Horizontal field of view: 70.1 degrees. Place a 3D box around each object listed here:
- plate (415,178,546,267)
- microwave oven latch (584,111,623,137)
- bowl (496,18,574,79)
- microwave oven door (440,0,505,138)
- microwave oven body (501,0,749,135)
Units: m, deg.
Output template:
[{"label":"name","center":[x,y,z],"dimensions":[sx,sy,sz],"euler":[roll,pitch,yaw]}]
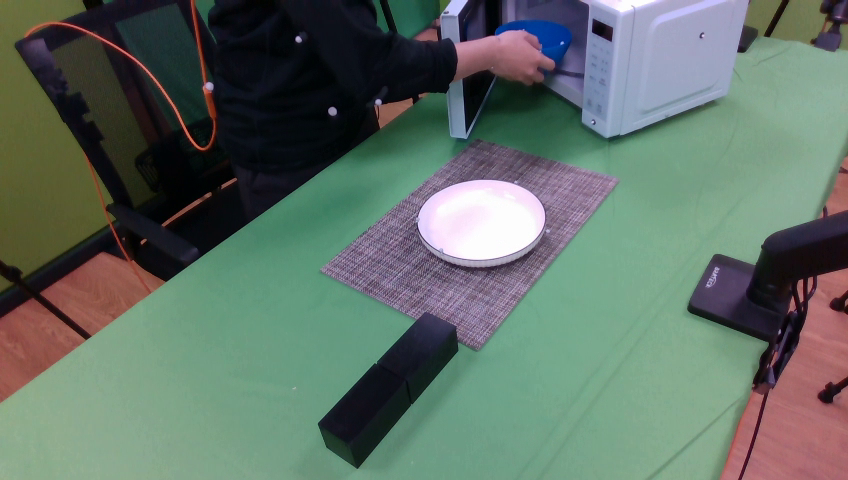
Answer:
[{"label":"plate","center":[0.091,-0.026,0.970],"dimensions":[0.207,0.039,0.206],"euler":[-4,41,4]},{"label":"microwave oven latch","center":[0.337,-0.222,1.142],"dimensions":[0.030,0.029,0.078],"euler":[-21,42,-14]},{"label":"bowl","center":[0.218,-0.376,1.209],"dimensions":[0.151,0.077,0.150],"euler":[-1,43,2]},{"label":"microwave oven door","center":[0.108,-0.405,1.231],"dimensions":[0.039,0.245,0.355],"euler":[7,43,17]},{"label":"microwave oven body","center":[0.382,-0.444,1.246],"dimensions":[0.327,0.261,0.437],"euler":[-22,42,-16]}]
